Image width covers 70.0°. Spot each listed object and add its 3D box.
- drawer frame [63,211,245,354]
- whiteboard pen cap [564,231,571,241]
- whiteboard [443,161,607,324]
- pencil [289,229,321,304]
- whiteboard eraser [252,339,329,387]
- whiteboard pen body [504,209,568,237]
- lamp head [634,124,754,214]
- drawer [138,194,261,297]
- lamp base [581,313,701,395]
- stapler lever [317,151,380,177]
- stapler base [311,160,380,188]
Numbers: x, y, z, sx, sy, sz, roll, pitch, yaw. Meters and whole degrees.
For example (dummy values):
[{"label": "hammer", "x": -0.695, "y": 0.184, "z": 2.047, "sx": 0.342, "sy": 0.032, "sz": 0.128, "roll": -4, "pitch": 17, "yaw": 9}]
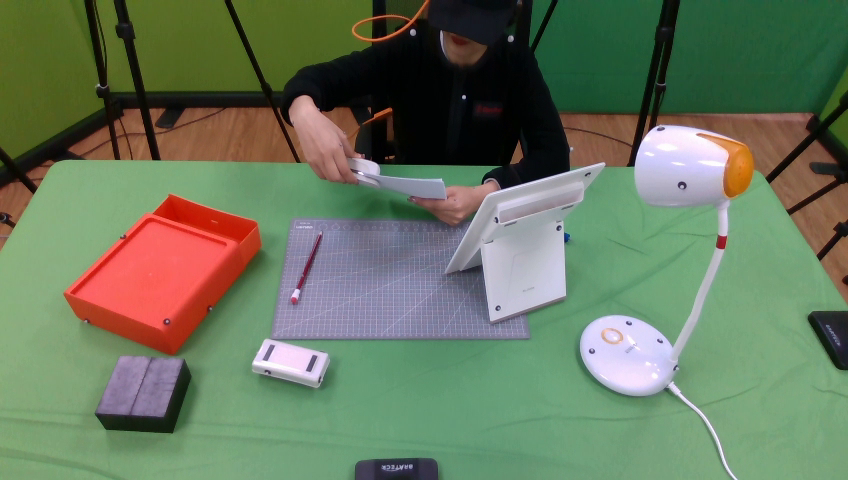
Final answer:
[{"label": "drawer frame", "x": -0.459, "y": 0.067, "z": 1.055, "sx": 0.201, "sy": 0.083, "sz": 0.212, "roll": 17, "pitch": 48, "yaw": 11}, {"label": "whiteboard pen cap", "x": 0.281, "y": -0.011, "z": 1.230, "sx": 0.033, "sy": 0.018, "sz": 0.018, "roll": 25, "pitch": 50, "yaw": 16}, {"label": "whiteboard", "x": 0.185, "y": 0.026, "z": 1.028, "sx": 0.217, "sy": 0.306, "sz": 0.143, "roll": -15, "pitch": 68, "yaw": -18}, {"label": "pencil", "x": -0.220, "y": 0.045, "z": 1.141, "sx": 0.012, "sy": 0.012, "sz": 0.193, "roll": 8, "pitch": 44, "yaw": 4}, {"label": "whiteboard eraser", "x": -0.215, "y": 0.199, "z": 0.976, "sx": 0.112, "sy": 0.042, "sz": 0.055, "roll": 12, "pitch": 45, "yaw": 7}, {"label": "whiteboard pen body", "x": 0.230, "y": -0.034, "z": 1.247, "sx": 0.140, "sy": 0.017, "sz": 0.017, "roll": 23, "pitch": 49, "yaw": 17}, {"label": "lamp head", "x": 0.351, "y": -0.089, "z": 0.776, "sx": 0.112, "sy": 0.113, "sz": 0.122, "roll": -30, "pitch": 30, "yaw": -28}, {"label": "drawer", "x": -0.437, "y": 0.027, "z": 1.098, "sx": 0.194, "sy": 0.073, "sz": 0.211, "roll": 18, "pitch": 48, "yaw": 12}, {"label": "lamp base", "x": 0.361, "y": 0.144, "z": 0.973, "sx": 0.178, "sy": 0.181, "sz": 0.160, "roll": 34, "pitch": 53, "yaw": 23}, {"label": "stapler lever", "x": -0.138, "y": -0.143, "z": 1.126, "sx": 0.118, "sy": 0.027, "sz": 0.040, "roll": 23, "pitch": 81, "yaw": 9}, {"label": "stapler base", "x": -0.143, "y": -0.127, "z": 1.124, "sx": 0.130, "sy": 0.041, "sz": 0.024, "roll": 14, "pitch": 79, "yaw": 8}]
